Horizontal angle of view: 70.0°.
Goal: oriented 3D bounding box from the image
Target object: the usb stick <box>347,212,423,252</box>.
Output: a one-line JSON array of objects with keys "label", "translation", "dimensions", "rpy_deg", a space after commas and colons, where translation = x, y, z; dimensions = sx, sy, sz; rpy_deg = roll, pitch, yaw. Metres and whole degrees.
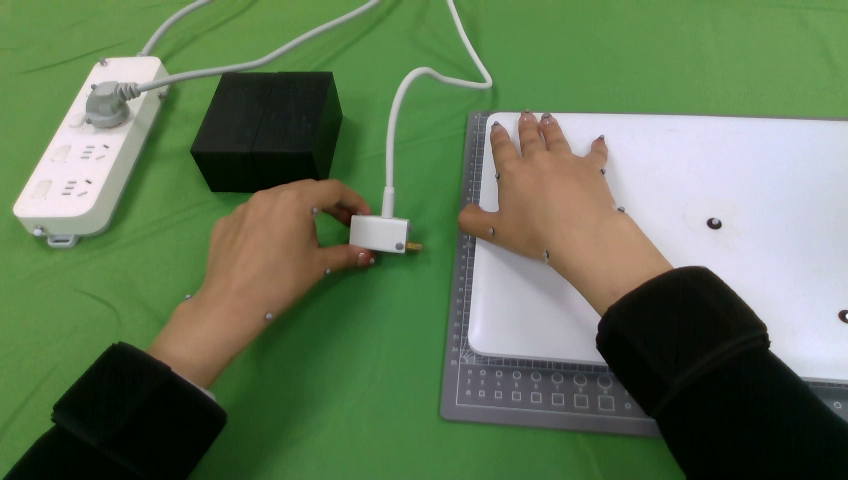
[{"label": "usb stick", "translation": [-0.029, -0.005, 0.474], "dimensions": [0.059, 0.021, 0.027], "rpy_deg": [11, 97, 3]}]

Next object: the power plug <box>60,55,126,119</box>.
[{"label": "power plug", "translation": [-0.288, -0.139, 0.527], "dimensions": [0.053, 0.073, 0.035], "rpy_deg": [12, 36, -18]}]

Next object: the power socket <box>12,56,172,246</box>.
[{"label": "power socket", "translation": [-0.297, -0.094, 0.558], "dimensions": [0.072, 0.033, 0.224], "rpy_deg": [1, 53, 3]}]

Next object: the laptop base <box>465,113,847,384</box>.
[{"label": "laptop base", "translation": [0.215, -0.004, 0.464], "dimensions": [0.354, 0.023, 0.233], "rpy_deg": [3, 57, 7]}]

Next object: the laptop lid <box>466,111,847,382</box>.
[{"label": "laptop lid", "translation": [0.214, -0.009, 0.453], "dimensions": [0.356, 0.013, 0.239], "rpy_deg": [4, 57, 8]}]
